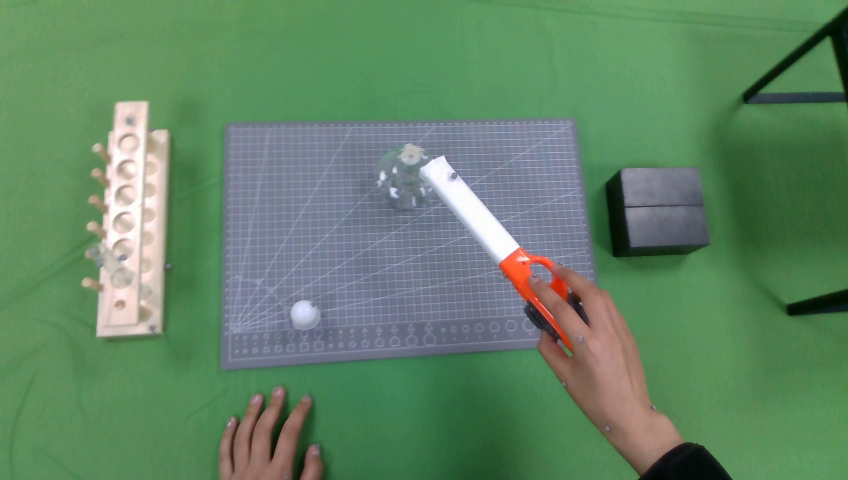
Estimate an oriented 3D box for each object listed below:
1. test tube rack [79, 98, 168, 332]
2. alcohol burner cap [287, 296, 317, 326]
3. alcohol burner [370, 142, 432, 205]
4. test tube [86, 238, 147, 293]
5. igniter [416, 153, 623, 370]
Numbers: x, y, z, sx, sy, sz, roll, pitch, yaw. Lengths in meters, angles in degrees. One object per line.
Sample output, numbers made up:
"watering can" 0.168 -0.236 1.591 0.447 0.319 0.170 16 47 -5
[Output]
"test tube rack" -0.333 -0.026 0.666 0.067 0.085 0.241 -2 76 -7
"alcohol burner cap" -0.139 0.078 0.682 0.034 0.048 0.033 2 75 -7
"alcohol burner" -0.023 -0.083 0.699 0.078 0.119 0.077 1 76 -5
"test tube" -0.303 0.028 0.604 0.017 0.151 0.017 3 71 -9
"igniter" 0.091 0.021 0.604 0.057 0.025 0.275 -37 78 -18
